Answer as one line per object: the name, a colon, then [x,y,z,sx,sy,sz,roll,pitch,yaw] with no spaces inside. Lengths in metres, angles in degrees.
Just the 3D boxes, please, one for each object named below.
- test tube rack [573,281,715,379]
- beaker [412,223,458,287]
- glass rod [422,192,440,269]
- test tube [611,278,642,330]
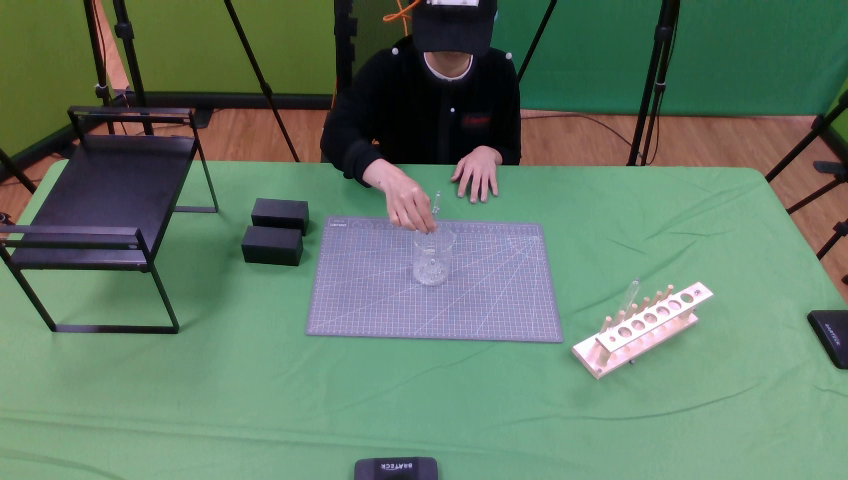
test tube rack: [0.378,0.140,1.038,0.242,0.085,0.066,-22,51,-23]
beaker: [0.018,0.030,1.109,0.084,0.101,0.073,-10,48,-14]
glass rod: [0.012,-0.012,1.075,0.008,0.200,0.008,5,48,-6]
test tube: [0.332,0.113,0.999,0.017,0.151,0.017,1,48,-1]
